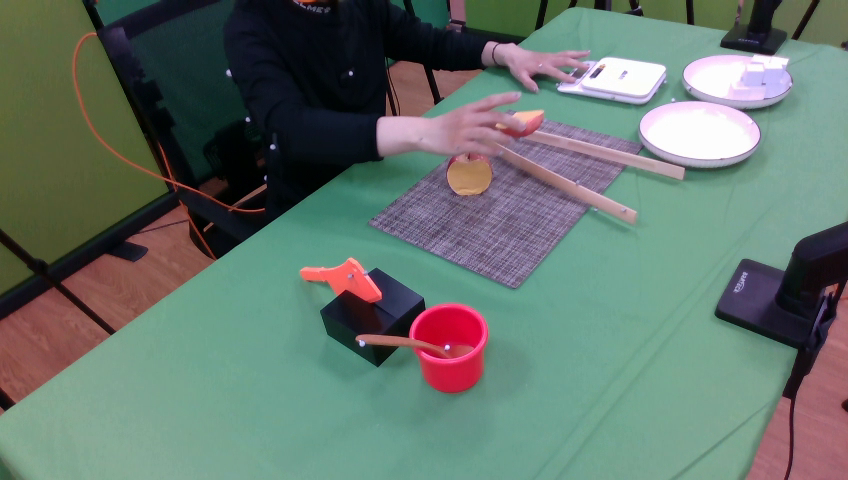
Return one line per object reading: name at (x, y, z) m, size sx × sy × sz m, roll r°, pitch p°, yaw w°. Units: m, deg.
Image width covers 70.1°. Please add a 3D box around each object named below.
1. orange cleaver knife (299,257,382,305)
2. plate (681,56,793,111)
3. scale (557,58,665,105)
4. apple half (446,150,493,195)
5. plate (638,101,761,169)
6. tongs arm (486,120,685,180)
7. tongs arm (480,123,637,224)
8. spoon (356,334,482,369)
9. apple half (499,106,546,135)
orange cleaver knife at (-0.124, 0.061, 0.872) m, size 0.012 × 0.077 × 0.210 m, roll -38°, pitch 17°, yaw -30°
plate at (0.636, -0.317, 1.239) m, size 0.207 × 0.039 × 0.206 m, roll -4°, pitch 40°, yaw 4°
scale at (0.407, -0.348, 1.314) m, size 0.199 × 0.032 × 0.149 m, roll 19°, pitch 47°, yaw 28°
apple half at (0.081, -0.124, 1.065) m, size 0.081 × 0.075 × 0.053 m, roll -6°, pitch 36°, yaw 6°
plate at (0.500, -0.189, 1.111) m, size 0.209 × 0.038 × 0.208 m, roll -4°, pitch 41°, yaw 4°
tongs arm at (0.287, -0.171, 1.123) m, size 0.384 × 0.028 × 0.028 m, roll 21°, pitch 53°, yaw 29°
tongs arm at (0.227, -0.128, 1.080) m, size 0.051 × 0.026 × 0.381 m, roll -33°, pitch 46°, yaw -25°
spoon at (-0.001, 0.130, 0.731) m, size 0.195 × 0.021 × 0.041 m, roll 21°, pitch 28°, yaw -39°
apple half at (0.163, -0.191, 0.993) m, size 0.081 × 0.033 × 0.081 m, roll -19°, pitch 20°, yaw 8°
